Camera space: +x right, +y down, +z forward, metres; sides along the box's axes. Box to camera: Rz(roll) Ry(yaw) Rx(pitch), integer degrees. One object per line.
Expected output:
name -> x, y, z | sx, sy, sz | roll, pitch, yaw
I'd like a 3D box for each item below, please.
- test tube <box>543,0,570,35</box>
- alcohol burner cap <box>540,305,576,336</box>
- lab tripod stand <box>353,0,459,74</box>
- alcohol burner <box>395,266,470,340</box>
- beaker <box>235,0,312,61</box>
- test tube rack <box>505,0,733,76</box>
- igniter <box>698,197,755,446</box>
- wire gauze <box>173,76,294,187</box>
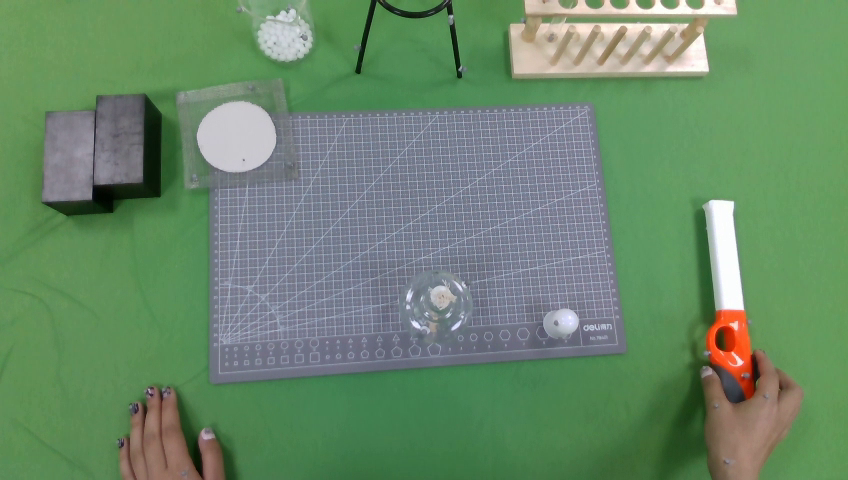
test tube -> 0.155, -0.272, 0.659 | 0.017, 0.151, 0.017 | 1, 74, -4
alcohol burner cap -> 0.147, 0.086, 0.655 | 0.034, 0.048, 0.033 | 1, 77, -3
lab tripod stand -> -0.020, -0.254, 0.668 | 0.148, 0.132, 0.147 | 1, 77, -2
alcohol burner -> 0.010, 0.061, 0.612 | 0.078, 0.119, 0.077 | 1, 76, -5
beaker -> -0.162, -0.250, 0.673 | 0.074, 0.100, 0.084 | -34, 83, -10
test tube rack -> 0.224, -0.245, 0.710 | 0.243, 0.085, 0.066 | -2, 78, -5
igniter -> 0.334, 0.085, 0.675 | 0.057, 0.025, 0.275 | 3, 76, -8
wire gauze -> -0.216, -0.124, 0.685 | 0.125, 0.011, 0.121 | -9, 78, -6
